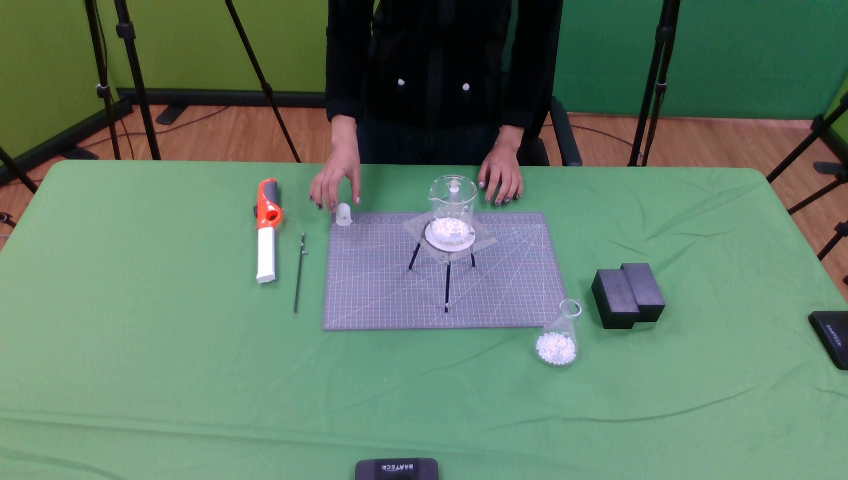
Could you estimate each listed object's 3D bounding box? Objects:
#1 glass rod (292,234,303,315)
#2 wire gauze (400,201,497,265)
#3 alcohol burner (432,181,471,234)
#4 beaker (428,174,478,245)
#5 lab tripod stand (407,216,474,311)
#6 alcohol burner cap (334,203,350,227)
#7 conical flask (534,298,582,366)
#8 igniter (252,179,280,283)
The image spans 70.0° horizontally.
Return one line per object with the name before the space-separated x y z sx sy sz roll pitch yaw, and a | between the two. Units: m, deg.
glass rod | -0.236 0.060 1.134 0.008 0.008 0.198 -1 46 -5
wire gauze | 0.042 -0.013 1.043 0.125 0.011 0.120 -24 49 -23
alcohol burner | 0.056 -0.070 1.205 0.078 0.120 0.077 1 47 -1
beaker | 0.043 -0.047 1.009 0.084 0.101 0.073 -16 48 -19
lab tripod stand | 0.039 0.030 1.092 0.148 0.132 0.147 2 44 -2
alcohol burner cap | -0.166 -0.053 1.220 0.034 0.048 0.033 2 46 -2
conical flask | 0.229 0.149 1.005 0.075 0.122 0.075 2 46 -2
igniter | -0.312 -0.027 1.197 0.057 0.025 0.274 -12 47 -1
